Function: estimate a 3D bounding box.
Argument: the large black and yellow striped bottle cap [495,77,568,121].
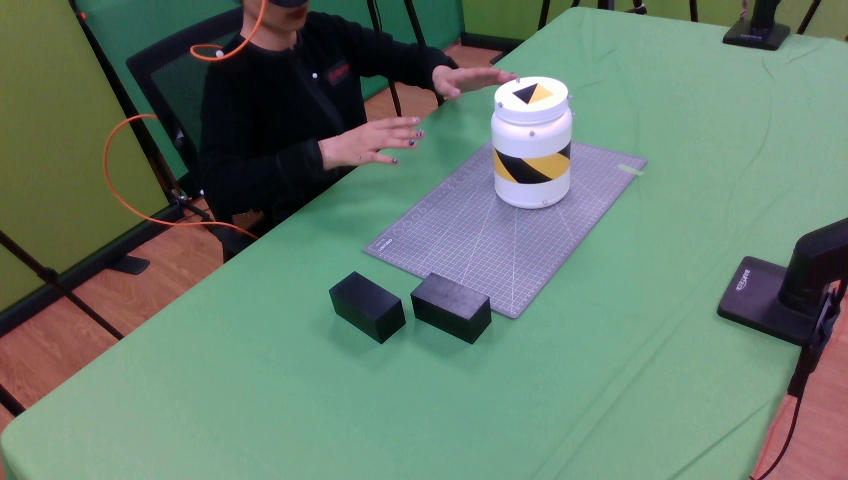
[{"bbox_3d":[0.169,-0.224,0.954,0.115,0.019,0.114,-4,41,4],"label":"large black and yellow striped bottle cap"}]

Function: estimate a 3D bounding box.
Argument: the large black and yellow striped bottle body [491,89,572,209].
[{"bbox_3d":[0.180,-0.159,1.006,0.131,0.185,0.130,-5,40,5],"label":"large black and yellow striped bottle body"}]
